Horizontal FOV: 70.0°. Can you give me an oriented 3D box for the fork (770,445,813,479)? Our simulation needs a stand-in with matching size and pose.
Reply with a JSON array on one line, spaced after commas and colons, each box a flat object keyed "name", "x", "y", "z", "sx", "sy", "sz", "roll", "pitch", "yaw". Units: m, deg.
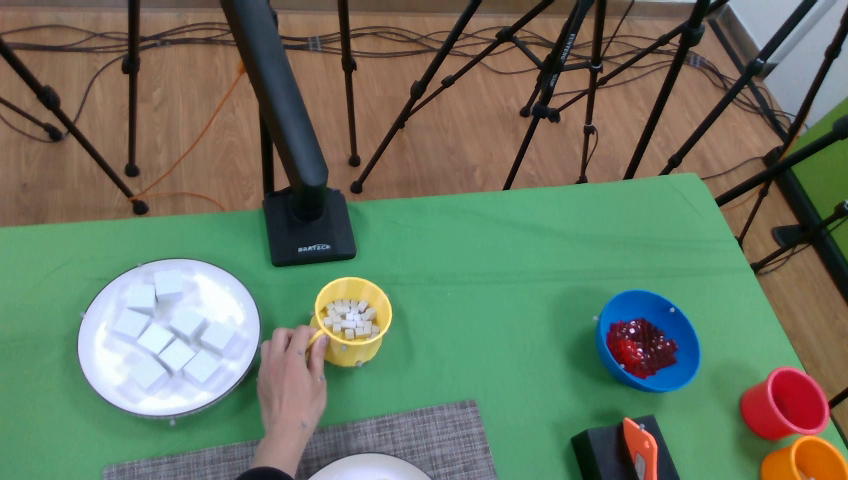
[{"name": "fork", "x": 0.519, "y": 0.333, "z": 0.780, "sx": 0.028, "sy": 0.019, "sz": 0.206, "roll": 6, "pitch": 15, "yaw": -9}]

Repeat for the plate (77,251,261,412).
[{"name": "plate", "x": -0.310, "y": 0.112, "z": 0.752, "sx": 0.208, "sy": 0.039, "sz": 0.206, "roll": 7, "pitch": 59, "yaw": -11}]

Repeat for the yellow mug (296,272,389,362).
[{"name": "yellow mug", "x": -0.111, "y": 0.108, "z": 0.784, "sx": 0.131, "sy": 0.064, "sz": 0.099, "roll": -34, "pitch": 72, "yaw": -34}]

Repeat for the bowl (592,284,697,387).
[{"name": "bowl", "x": 0.303, "y": 0.147, "z": 0.873, "sx": 0.152, "sy": 0.077, "sz": 0.150, "roll": 7, "pitch": 59, "yaw": -11}]

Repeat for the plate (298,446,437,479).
[{"name": "plate", "x": -0.066, "y": 0.341, "z": 0.679, "sx": 0.210, "sy": 0.038, "sz": 0.207, "roll": 7, "pitch": 59, "yaw": -11}]

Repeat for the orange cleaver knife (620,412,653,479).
[{"name": "orange cleaver knife", "x": 0.274, "y": 0.325, "z": 0.759, "sx": 0.012, "sy": 0.077, "sz": 0.211, "roll": -6, "pitch": 86, "yaw": -14}]
